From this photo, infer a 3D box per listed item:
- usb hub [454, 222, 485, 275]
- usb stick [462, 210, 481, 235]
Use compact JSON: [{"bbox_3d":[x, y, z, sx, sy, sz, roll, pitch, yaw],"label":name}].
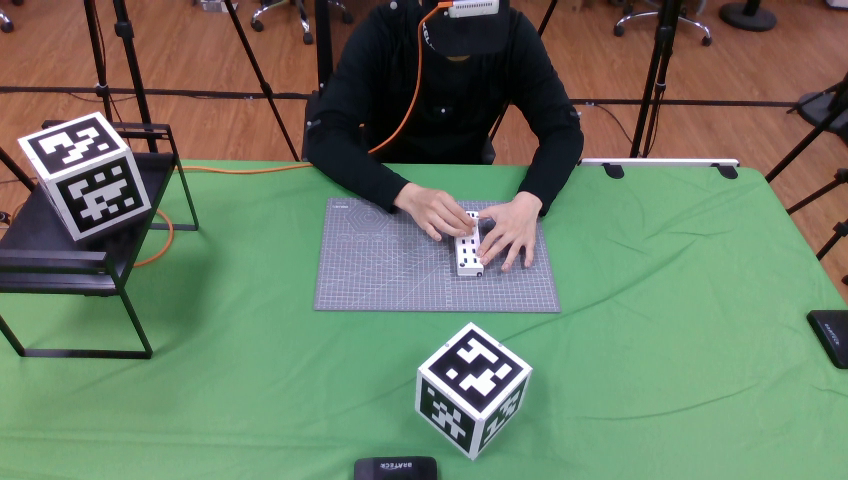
[{"bbox_3d":[0.087,0.015,1.178,0.049,0.025,0.124,0,45,-4],"label":"usb hub"},{"bbox_3d":[0.093,-0.037,1.168,0.027,0.059,0.021,-25,62,-22],"label":"usb stick"}]
